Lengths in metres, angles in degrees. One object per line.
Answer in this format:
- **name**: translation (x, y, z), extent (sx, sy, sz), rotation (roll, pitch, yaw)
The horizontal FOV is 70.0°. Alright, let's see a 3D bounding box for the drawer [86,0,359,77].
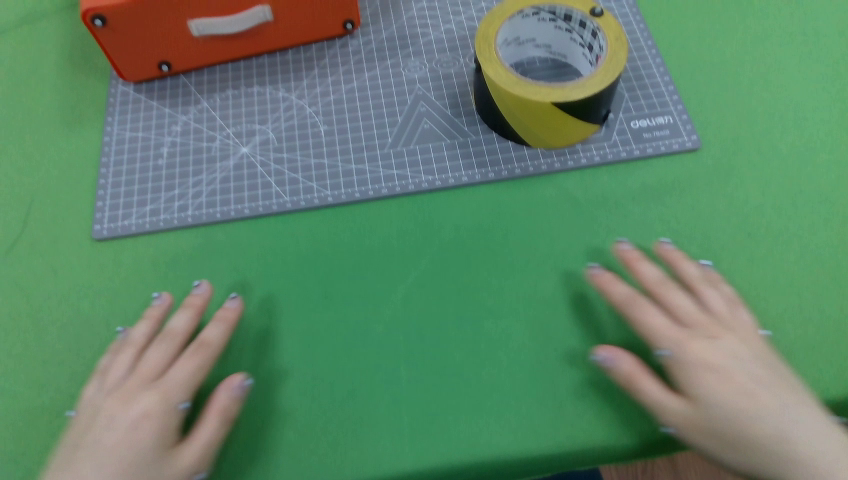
- **drawer**: translation (-0.176, -0.255, 0.515), extent (0.195, 0.074, 0.209), rotation (-16, 62, -6)

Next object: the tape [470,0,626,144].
- **tape**: translation (0.092, -0.132, 0.459), extent (0.117, 0.053, 0.116), rotation (-1, 62, 2)

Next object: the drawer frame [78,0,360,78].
- **drawer frame**: translation (-0.178, -0.256, 0.516), extent (0.202, 0.083, 0.211), rotation (-16, 62, -7)
